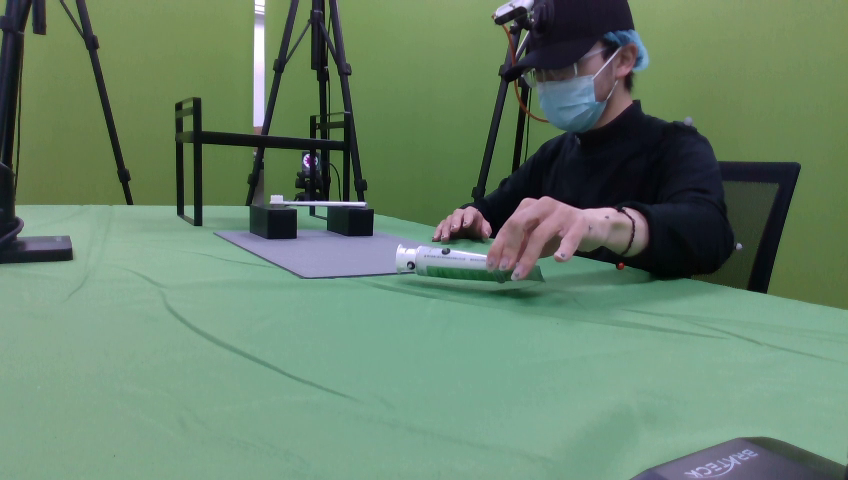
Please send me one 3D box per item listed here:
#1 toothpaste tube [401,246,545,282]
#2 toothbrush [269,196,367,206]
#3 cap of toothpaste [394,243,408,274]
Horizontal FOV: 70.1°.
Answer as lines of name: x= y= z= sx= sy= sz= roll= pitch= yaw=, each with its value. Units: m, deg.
toothpaste tube: x=0.050 y=0.029 z=0.674 sx=0.164 sy=0.034 sz=0.055 roll=5 pitch=-14 yaw=20
toothbrush: x=-0.187 y=-0.069 z=1.088 sx=0.183 sy=0.016 sz=0.014 roll=0 pitch=-4 yaw=-28
cap of toothpaste: x=-0.026 y=0.022 z=0.703 sx=0.011 sy=0.037 sz=0.037 roll=4 pitch=8 yaw=9
